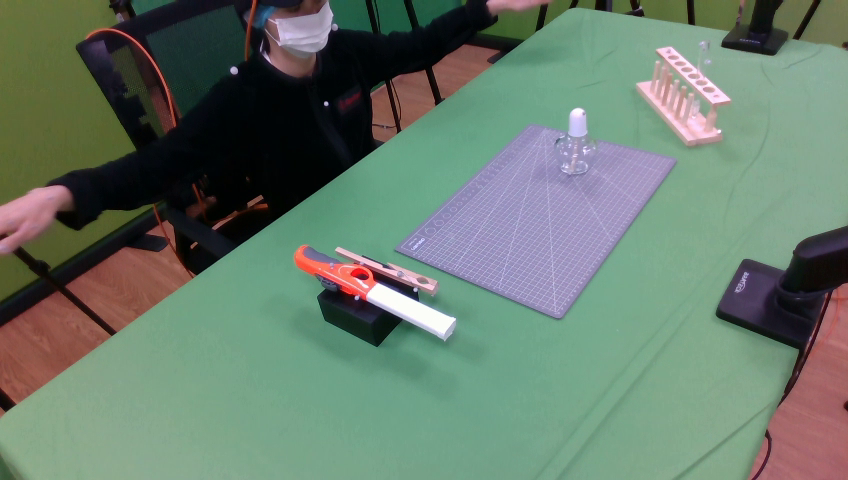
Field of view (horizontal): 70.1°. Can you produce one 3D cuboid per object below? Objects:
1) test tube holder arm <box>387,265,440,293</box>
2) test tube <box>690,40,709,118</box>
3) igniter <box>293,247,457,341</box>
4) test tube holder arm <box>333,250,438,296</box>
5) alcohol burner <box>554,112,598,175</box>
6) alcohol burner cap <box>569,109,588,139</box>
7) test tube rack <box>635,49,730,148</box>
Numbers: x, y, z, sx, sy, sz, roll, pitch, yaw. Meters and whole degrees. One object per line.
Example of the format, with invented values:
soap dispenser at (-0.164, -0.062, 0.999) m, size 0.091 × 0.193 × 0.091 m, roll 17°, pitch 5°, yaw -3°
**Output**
test tube holder arm at (-0.017, 0.054, 0.843) m, size 0.087 × 0.015 × 0.010 m, roll 18°, pitch 49°, yaw 27°
test tube at (0.510, -0.295, 1.120) m, size 0.017 × 0.151 × 0.017 m, roll -6°, pitch 39°, yaw 6°
igniter at (-0.077, 0.068, 0.830) m, size 0.274 × 0.025 × 0.057 m, roll 22°, pitch 48°, yaw 27°
test tube holder arm at (-0.059, 0.045, 0.859) m, size 0.177 × 0.015 × 0.013 m, roll 17°, pitch 49°, yaw 26°
alcohol burner at (0.270, -0.175, 1.066) m, size 0.078 × 0.119 × 0.077 m, roll -4°, pitch 42°, yaw 4°
alcohol burner cap at (0.266, -0.203, 1.044) m, size 0.034 × 0.048 × 0.033 m, roll -7°, pitch 36°, yaw 5°
test tube rack at (0.497, -0.283, 1.185) m, size 0.067 × 0.085 × 0.240 m, roll -10°, pitch 40°, yaw -2°
